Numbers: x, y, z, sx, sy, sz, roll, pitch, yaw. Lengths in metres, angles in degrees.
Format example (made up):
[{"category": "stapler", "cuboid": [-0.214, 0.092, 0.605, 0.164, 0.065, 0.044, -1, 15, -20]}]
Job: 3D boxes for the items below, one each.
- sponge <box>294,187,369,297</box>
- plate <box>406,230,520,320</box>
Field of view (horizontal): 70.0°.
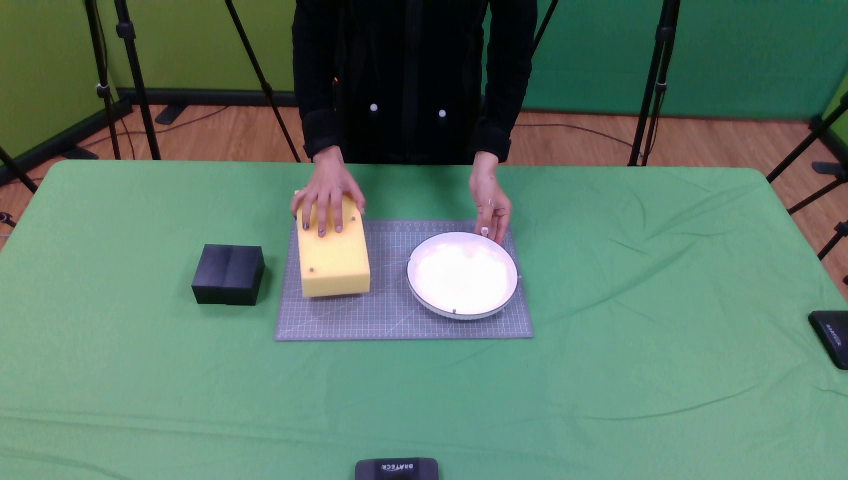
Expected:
[{"category": "sponge", "cuboid": [-0.172, -0.001, 1.113, 0.118, 0.061, 0.205, -5, 53, -11]}, {"category": "plate", "cuboid": [0.070, 0.067, 1.122, 0.209, 0.038, 0.208, 2, 46, -2]}]
